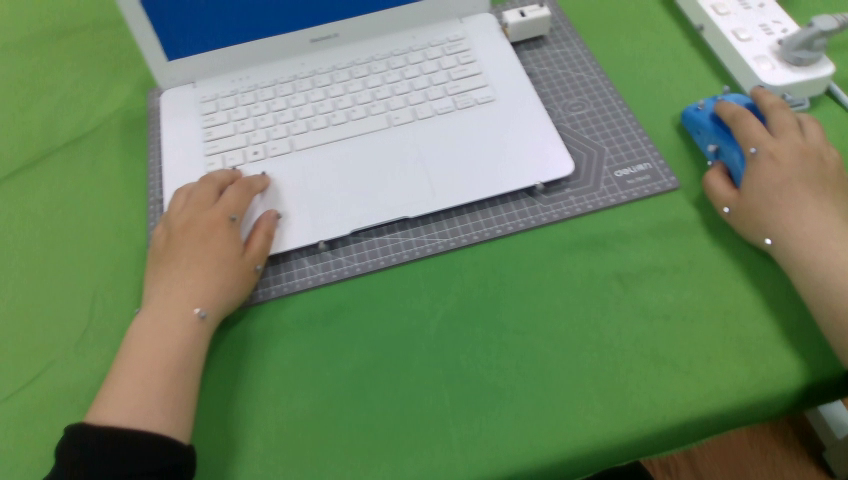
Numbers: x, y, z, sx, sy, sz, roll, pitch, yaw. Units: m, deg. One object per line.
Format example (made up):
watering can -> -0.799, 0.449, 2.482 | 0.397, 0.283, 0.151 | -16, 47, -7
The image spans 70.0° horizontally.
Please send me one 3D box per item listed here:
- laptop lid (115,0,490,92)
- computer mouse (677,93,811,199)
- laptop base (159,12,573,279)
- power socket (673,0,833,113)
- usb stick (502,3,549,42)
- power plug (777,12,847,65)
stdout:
laptop lid -> -0.116, -0.279, 0.555 | 0.357, 0.244, 0.013 | -16, 43, -4
computer mouse -> 0.268, -0.087, 0.512 | 0.063, 0.041, 0.116 | -16, 50, -2
laptop base -> -0.068, -0.101, 0.570 | 0.354, 0.023, 0.233 | -15, 59, -5
power socket -> 0.313, -0.214, 0.598 | 0.072, 0.033, 0.224 | -12, 55, -2
usb stick -> 0.096, -0.220, 0.619 | 0.059, 0.027, 0.021 | -16, 56, -1
power plug -> 0.355, -0.173, 0.540 | 0.072, 0.053, 0.035 | -3, 57, 4
